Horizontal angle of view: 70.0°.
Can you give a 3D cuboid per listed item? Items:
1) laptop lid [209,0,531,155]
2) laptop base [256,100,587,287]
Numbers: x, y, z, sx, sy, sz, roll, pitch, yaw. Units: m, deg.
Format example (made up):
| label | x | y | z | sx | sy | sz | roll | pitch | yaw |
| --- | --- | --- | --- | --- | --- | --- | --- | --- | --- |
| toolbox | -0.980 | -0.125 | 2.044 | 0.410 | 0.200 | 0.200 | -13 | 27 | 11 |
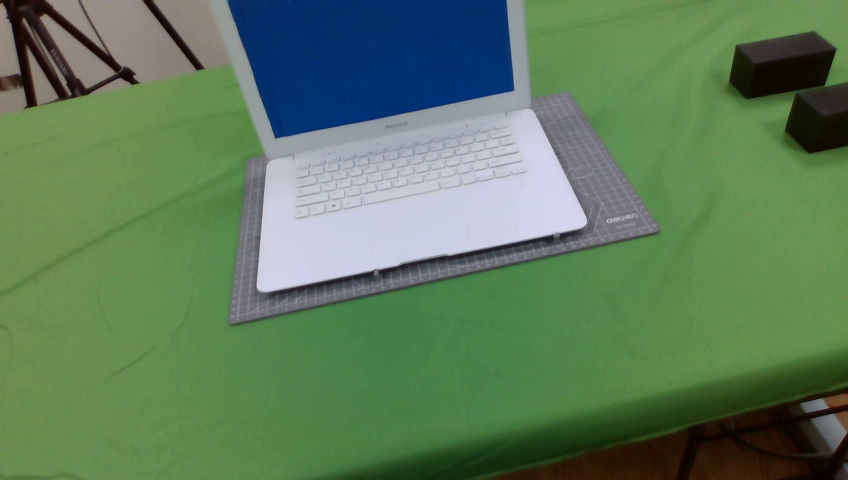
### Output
| label | x | y | z | sx | sy | sz | roll | pitch | yaw |
| --- | --- | --- | --- | --- | --- | --- | --- | --- | --- |
| laptop lid | -0.052 | -0.236 | 0.722 | 0.357 | 0.244 | 0.013 | -13 | 36 | 1 |
| laptop base | -0.016 | -0.061 | 0.708 | 0.354 | 0.023 | 0.233 | -12 | 47 | 0 |
